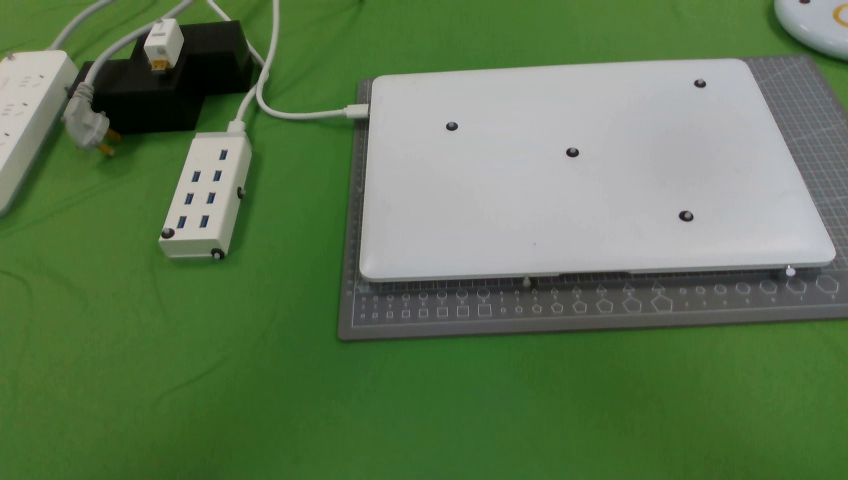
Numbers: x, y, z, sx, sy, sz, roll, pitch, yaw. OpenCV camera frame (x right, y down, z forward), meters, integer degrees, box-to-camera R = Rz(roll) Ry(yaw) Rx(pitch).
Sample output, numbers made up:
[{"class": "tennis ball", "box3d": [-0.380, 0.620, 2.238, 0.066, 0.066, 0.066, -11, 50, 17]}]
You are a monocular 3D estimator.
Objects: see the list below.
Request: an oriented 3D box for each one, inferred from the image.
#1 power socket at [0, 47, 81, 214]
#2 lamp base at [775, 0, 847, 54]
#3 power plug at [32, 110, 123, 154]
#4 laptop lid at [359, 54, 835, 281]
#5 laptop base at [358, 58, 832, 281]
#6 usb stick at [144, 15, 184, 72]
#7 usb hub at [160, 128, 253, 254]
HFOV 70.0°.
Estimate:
[{"class": "power socket", "box3d": [-0.398, -0.109, 0.577, 0.072, 0.033, 0.224, -1, 53, 2]}, {"class": "lamp base", "box3d": [0.448, -0.295, 0.567, 0.159, 0.182, 0.178, 26, 57, 22]}, {"class": "power plug", "box3d": [-0.316, -0.095, 0.558, 0.072, 0.053, 0.035, -12, 53, 36]}, {"class": "laptop lid", "box3d": [0.125, -0.072, 0.508, 0.356, 0.013, 0.239, -1, 55, 3]}, {"class": "laptop base", "box3d": [0.126, -0.067, 0.519, 0.354, 0.023, 0.233, -2, 56, 2]}, {"class": "usb stick", "box3d": [-0.242, -0.181, 0.561, 0.021, 0.027, 0.058, -2, 55, 0]}, {"class": "usb hub", "box3d": [-0.183, -0.044, 0.519, 0.049, 0.025, 0.124, -2, 53, 4]}]
